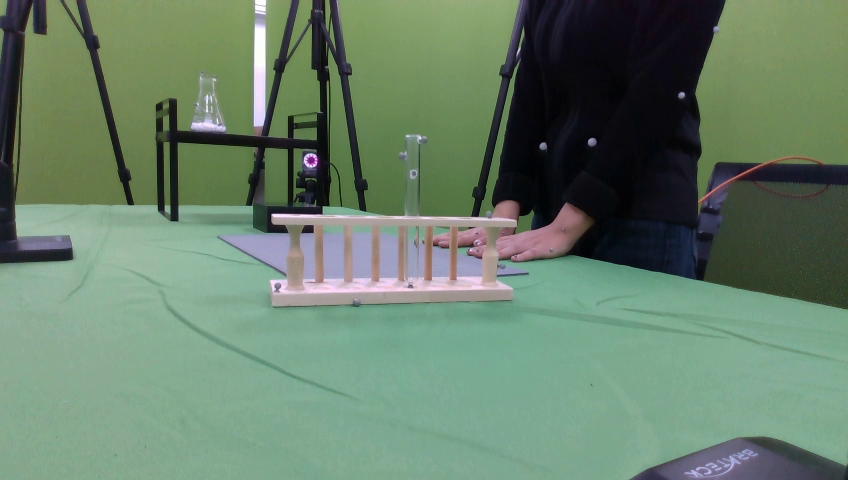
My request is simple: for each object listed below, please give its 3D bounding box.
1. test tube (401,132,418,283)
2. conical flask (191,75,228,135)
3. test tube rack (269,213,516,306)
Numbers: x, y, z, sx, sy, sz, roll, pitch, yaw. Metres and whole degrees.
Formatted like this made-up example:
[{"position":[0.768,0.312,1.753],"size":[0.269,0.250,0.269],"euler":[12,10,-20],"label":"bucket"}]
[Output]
[{"position":[-0.014,-0.031,0.596],"size":[0.017,0.150,0.017],"euler":[1,11,0],"label":"test tube"},{"position":[-0.457,-0.286,1.286],"size":[0.075,0.122,0.075],"euler":[2,7,0],"label":"conical flask"},{"position":[-0.032,0.015,0.617],"size":[0.243,0.085,0.066],"euler":[0,7,-17],"label":"test tube rack"}]
